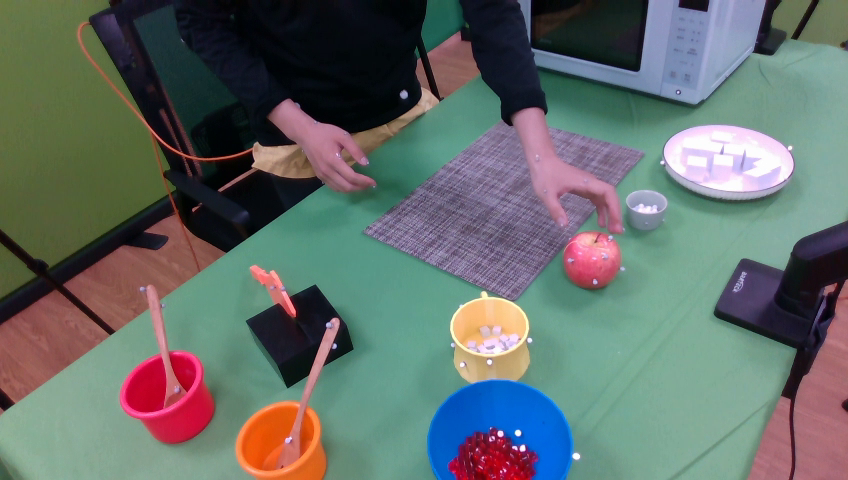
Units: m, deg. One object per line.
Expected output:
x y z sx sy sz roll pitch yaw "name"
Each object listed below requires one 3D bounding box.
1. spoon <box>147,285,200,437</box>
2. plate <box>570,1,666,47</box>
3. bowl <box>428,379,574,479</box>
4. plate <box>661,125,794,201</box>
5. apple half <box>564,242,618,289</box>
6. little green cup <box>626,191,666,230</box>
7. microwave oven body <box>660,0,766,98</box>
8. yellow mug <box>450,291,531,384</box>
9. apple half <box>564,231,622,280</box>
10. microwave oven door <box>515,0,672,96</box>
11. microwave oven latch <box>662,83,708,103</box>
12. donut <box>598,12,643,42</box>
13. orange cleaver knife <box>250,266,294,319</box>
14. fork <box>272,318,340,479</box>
-0.318 0.148 0.754 0.042 0.021 0.193 -15 85 -10 "spoon"
0.437 -0.485 1.370 0.209 0.038 0.208 -4 41 4 "plate"
0.082 0.233 0.644 0.151 0.077 0.150 -4 39 4 "bowl"
0.513 -0.128 1.035 0.207 0.039 0.206 -4 40 4 "plate"
0.229 0.044 0.848 0.081 0.081 0.033 16 41 26 "apple half"
0.352 -0.046 0.963 0.061 0.039 0.061 -4 40 4 "little green cup"
0.472 -0.513 1.317 0.438 0.261 0.327 26 51 34 "microwave oven body"
0.085 0.120 0.786 0.100 0.064 0.130 -7 39 1 "yellow mug"
0.249 0.021 0.874 0.080 0.075 0.053 14 40 29 "apple half"
0.343 -0.455 1.259 0.353 0.245 0.039 26 51 33 "microwave oven door"
0.518 -0.297 1.205 0.078 0.029 0.030 29 53 36 "microwave oven latch"
0.438 -0.474 1.346 0.099 0.048 0.098 -17 23 8 "donut"
-0.221 0.073 0.876 0.012 0.077 0.210 -24 12 -22 "orange cleaver knife"
-0.131 0.186 0.676 0.028 0.019 0.207 18 90 28 "fork"
